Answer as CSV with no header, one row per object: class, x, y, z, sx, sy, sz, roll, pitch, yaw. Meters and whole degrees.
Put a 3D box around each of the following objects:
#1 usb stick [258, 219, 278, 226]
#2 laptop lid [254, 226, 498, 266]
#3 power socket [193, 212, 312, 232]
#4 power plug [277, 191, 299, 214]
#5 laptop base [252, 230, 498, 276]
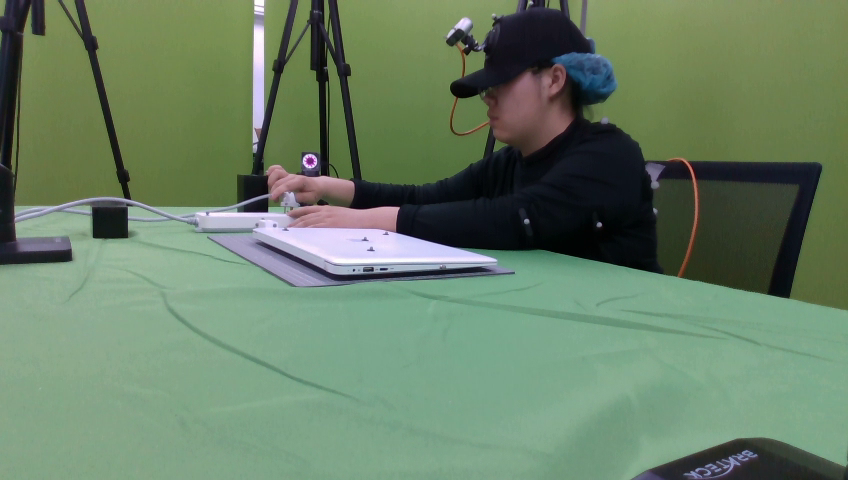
usb stick,-0.255,-0.019,0.996,0.021,0.027,0.059,-3,12,-29
laptop lid,-0.086,0.005,0.876,0.243,0.013,0.355,1,7,-30
power socket,-0.322,-0.036,1.151,0.228,0.032,0.072,-2,7,-34
power plug,-0.274,-0.072,1.218,0.035,0.052,0.072,4,-1,-22
laptop base,-0.089,0.016,0.876,0.237,0.023,0.352,2,6,-32
